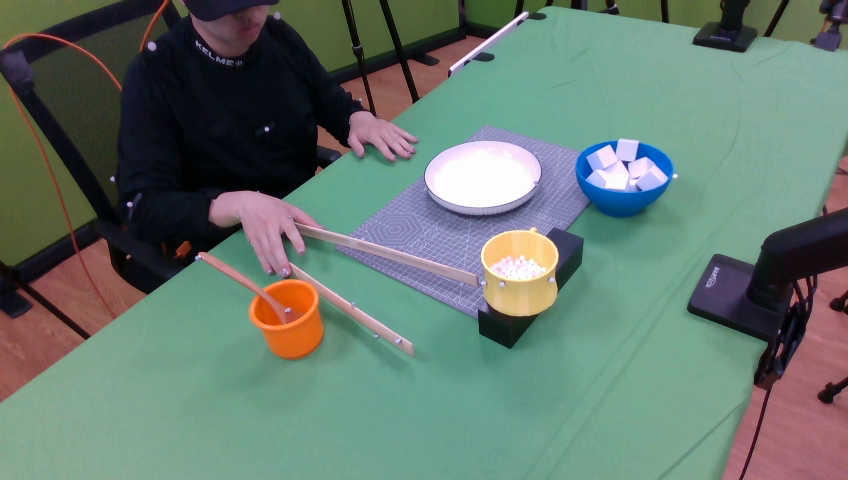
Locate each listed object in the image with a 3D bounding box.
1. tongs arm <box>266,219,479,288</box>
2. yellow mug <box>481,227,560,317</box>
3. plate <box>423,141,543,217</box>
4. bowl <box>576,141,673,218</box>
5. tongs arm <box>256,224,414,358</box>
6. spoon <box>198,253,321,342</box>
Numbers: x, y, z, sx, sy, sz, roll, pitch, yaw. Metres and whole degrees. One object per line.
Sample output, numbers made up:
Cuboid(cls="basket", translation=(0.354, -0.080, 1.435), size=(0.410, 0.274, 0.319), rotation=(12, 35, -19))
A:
Cuboid(cls="tongs arm", translation=(-0.091, 0.018, 0.951), size=(0.385, 0.028, 0.028), rotation=(15, 50, 25))
Cuboid(cls="yellow mug", translation=(0.131, 0.032, 0.801), size=(0.099, 0.064, 0.131), rotation=(11, 43, 20))
Cuboid(cls="plate", translation=(0.103, -0.103, 1.059), size=(0.207, 0.039, 0.206), rotation=(-4, 40, 4))
Cuboid(cls="bowl", translation=(0.321, -0.089, 0.984), size=(0.151, 0.077, 0.150), rotation=(-4, 40, 4))
Cuboid(cls="tongs arm", translation=(-0.141, 0.064, 0.903), size=(0.381, 0.026, 0.051), rotation=(26, 52, 34))
Cuboid(cls="spoon", translation=(-0.220, 0.075, 0.814), size=(0.021, 0.194, 0.041), rotation=(-37, 18, 39))
